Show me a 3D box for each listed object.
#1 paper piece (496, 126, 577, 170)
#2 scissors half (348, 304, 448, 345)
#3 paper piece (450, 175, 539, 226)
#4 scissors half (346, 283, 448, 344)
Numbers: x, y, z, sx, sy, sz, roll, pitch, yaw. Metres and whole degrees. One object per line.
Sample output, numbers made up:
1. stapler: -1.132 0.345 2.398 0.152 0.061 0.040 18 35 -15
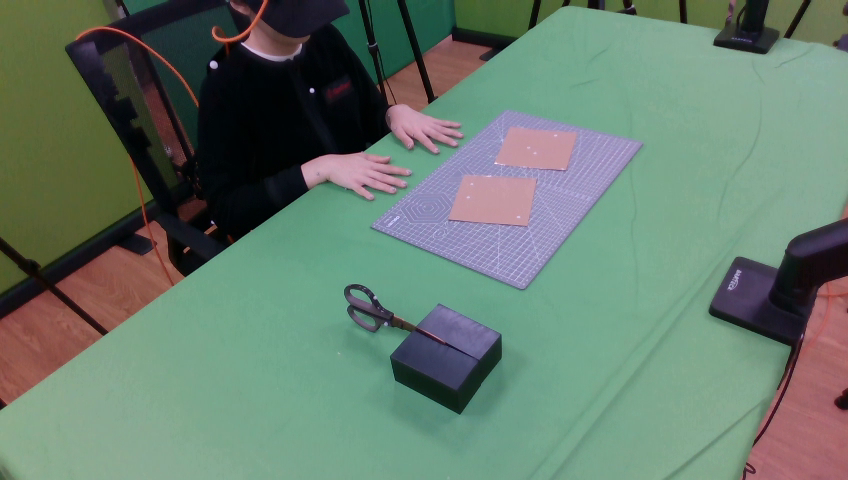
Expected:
1. paper piece: 0.218 -0.178 1.159 0.135 0.004 0.135 9 44 18
2. scissors half: -0.037 0.117 0.813 0.174 0.040 0.013 9 34 39
3. paper piece: 0.125 -0.072 1.051 0.135 0.009 0.138 3 42 18
4. scissors half: -0.038 0.099 0.803 0.174 0.040 0.013 26 38 28
